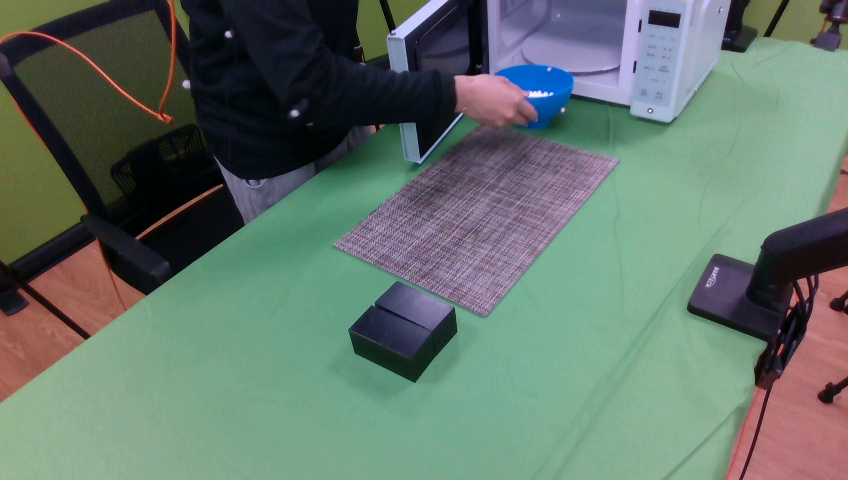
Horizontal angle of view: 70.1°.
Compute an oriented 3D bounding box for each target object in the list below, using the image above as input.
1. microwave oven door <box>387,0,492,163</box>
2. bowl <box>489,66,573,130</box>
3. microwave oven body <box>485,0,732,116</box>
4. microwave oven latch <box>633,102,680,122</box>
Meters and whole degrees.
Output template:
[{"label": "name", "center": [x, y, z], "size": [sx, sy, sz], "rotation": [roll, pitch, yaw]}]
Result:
[{"label": "microwave oven door", "center": [0.044, -0.346, 1.171], "size": [0.039, 0.245, 0.356], "rotation": [14, 45, 24]}, {"label": "bowl", "center": [0.192, -0.251, 1.099], "size": [0.151, 0.077, 0.150], "rotation": [-2, 37, 2]}, {"label": "microwave oven body", "center": [0.377, -0.462, 1.267], "size": [0.438, 0.261, 0.327], "rotation": [21, 48, 30]}, {"label": "microwave oven latch", "center": [0.444, -0.249, 1.157], "size": [0.078, 0.029, 0.030], "rotation": [22, 49, 31]}]
